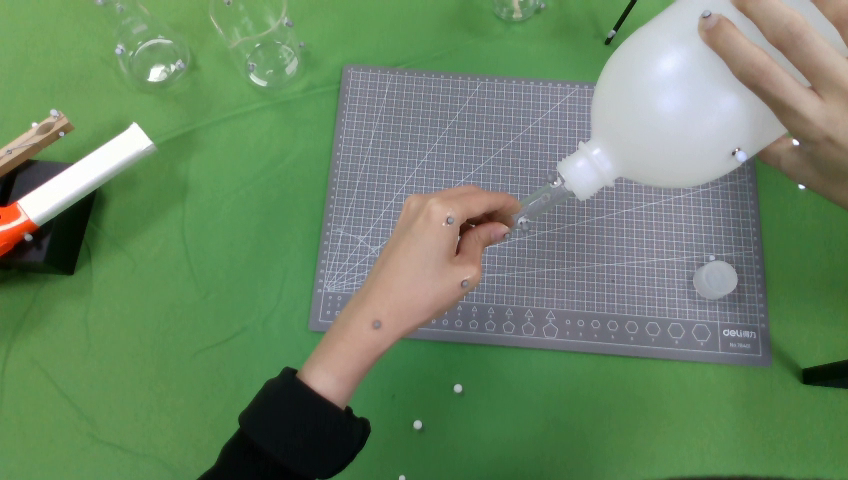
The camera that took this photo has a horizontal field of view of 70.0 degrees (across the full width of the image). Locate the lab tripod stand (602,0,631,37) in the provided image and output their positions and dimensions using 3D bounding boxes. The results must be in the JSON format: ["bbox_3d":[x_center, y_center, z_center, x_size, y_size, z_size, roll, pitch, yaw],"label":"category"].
[{"bbox_3d":[0.269,-0.284,0.640,0.148,0.132,0.147,1,72,-2],"label":"lab tripod stand"}]

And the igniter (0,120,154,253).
[{"bbox_3d":[-0.376,-0.021,0.556,0.276,0.025,0.057,-40,79,-15],"label":"igniter"}]

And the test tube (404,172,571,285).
[{"bbox_3d":[0.040,-0.004,0.431,0.150,0.017,0.017,-33,71,32],"label":"test tube"}]

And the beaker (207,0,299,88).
[{"bbox_3d":[-0.173,-0.210,0.629,0.074,0.101,0.083,19,74,6],"label":"beaker"}]

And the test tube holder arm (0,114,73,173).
[{"bbox_3d":[-0.380,-0.090,0.581,0.088,0.015,0.010,-38,77,-12],"label":"test tube holder arm"}]

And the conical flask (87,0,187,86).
[{"bbox_3d":[-0.299,-0.219,0.616,0.075,0.122,0.075,0,72,0],"label":"conical flask"}]

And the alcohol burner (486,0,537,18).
[{"bbox_3d":[0.100,-0.299,0.653,0.078,0.120,0.077,1,71,-2],"label":"alcohol burner"}]

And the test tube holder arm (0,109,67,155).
[{"bbox_3d":[-0.418,-0.066,0.572,0.178,0.015,0.013,-40,77,-12],"label":"test tube holder arm"}]

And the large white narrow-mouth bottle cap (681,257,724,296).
[{"bbox_3d":[0.276,0.036,0.600,0.038,0.024,0.037,0,74,0],"label":"large white narrow-mouth bottle cap"}]

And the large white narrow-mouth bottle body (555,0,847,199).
[{"bbox_3d":[0.164,-0.094,0.358,0.195,0.102,0.101,-38,75,14],"label":"large white narrow-mouth bottle body"}]
